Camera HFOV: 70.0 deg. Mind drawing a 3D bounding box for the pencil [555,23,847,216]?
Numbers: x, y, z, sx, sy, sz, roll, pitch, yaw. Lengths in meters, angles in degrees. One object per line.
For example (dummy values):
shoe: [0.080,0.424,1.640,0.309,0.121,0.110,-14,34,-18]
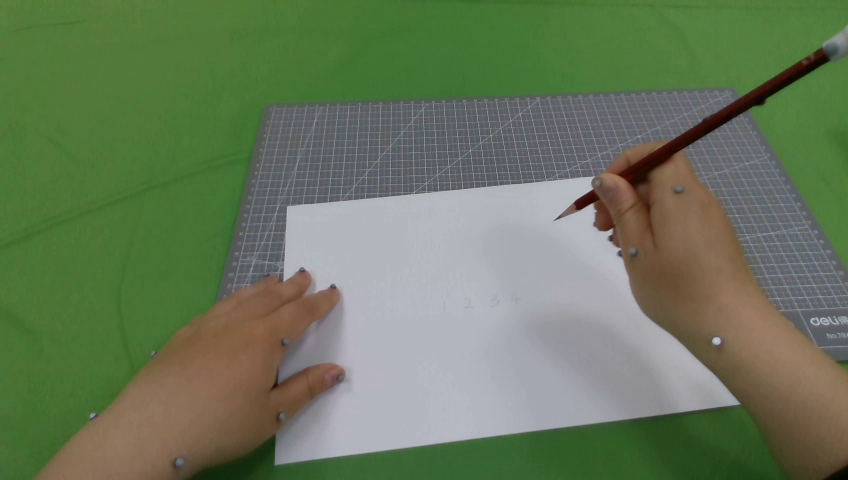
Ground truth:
pencil: [0.139,-0.056,0.314,0.012,0.194,0.012,20,54,-30]
